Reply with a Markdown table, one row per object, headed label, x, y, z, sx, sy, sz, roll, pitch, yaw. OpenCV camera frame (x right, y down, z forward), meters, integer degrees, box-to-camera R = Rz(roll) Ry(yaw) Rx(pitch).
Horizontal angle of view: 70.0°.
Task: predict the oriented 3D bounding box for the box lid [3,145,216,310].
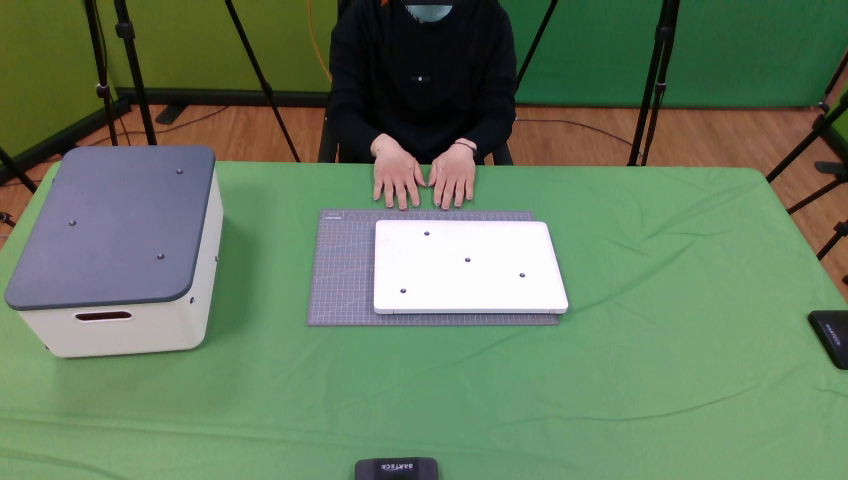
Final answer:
| label | x | y | z | sx | sy | sz | roll | pitch | yaw |
| --- | --- | --- | --- | --- | --- | --- | --- | --- | --- |
| box lid | -0.495 | -0.040 | 0.998 | 0.263 | 0.015 | 0.369 | -2 | 47 | -8 |

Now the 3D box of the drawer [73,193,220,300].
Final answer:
| label | x | y | z | sx | sy | sz | roll | pitch | yaw |
| --- | --- | --- | --- | --- | --- | --- | --- | --- | --- |
| drawer | -0.494 | 0.009 | 1.103 | 0.195 | 0.073 | 0.210 | 2 | 45 | -6 |

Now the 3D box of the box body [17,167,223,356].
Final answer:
| label | x | y | z | sx | sy | sz | roll | pitch | yaw |
| --- | --- | --- | --- | --- | --- | --- | --- | --- | --- |
| box body | -0.499 | 0.012 | 1.051 | 0.254 | 0.161 | 0.361 | -3 | 47 | -7 |

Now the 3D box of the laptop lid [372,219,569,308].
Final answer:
| label | x | y | z | sx | sy | sz | roll | pitch | yaw |
| --- | --- | --- | --- | --- | --- | --- | --- | --- | --- |
| laptop lid | 0.081 | 0.039 | 1.152 | 0.357 | 0.013 | 0.240 | 2 | 44 | -3 |

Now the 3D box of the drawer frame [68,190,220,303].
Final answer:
| label | x | y | z | sx | sy | sz | roll | pitch | yaw |
| --- | --- | --- | --- | --- | --- | --- | --- | --- | --- |
| drawer frame | -0.495 | 0.006 | 1.100 | 0.202 | 0.083 | 0.212 | -1 | 48 | -4 |

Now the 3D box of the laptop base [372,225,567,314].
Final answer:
| label | x | y | z | sx | sy | sz | roll | pitch | yaw |
| --- | --- | --- | --- | --- | --- | --- | --- | --- | --- |
| laptop base | 0.080 | 0.049 | 1.158 | 0.355 | 0.023 | 0.234 | 0 | 43 | -4 |
